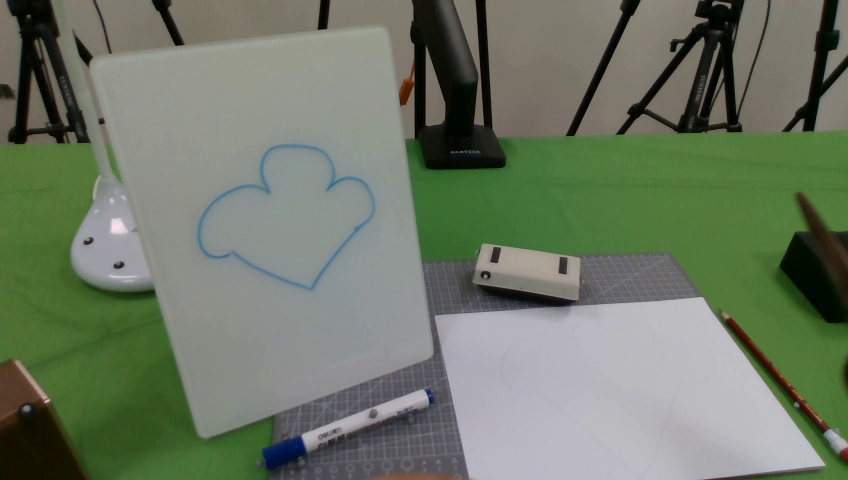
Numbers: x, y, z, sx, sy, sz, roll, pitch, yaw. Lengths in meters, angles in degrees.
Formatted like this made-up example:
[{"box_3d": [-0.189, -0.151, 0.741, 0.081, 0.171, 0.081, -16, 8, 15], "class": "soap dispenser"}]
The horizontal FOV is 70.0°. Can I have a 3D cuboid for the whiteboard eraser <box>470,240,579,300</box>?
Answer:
[{"box_3d": [0.110, 0.034, 0.656, 0.112, 0.042, 0.055, 9, 37, 8], "class": "whiteboard eraser"}]

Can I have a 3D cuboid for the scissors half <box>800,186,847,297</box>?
[{"box_3d": [0.297, 0.039, 0.395, 0.013, 0.040, 0.174, -17, 70, -21], "class": "scissors half"}]

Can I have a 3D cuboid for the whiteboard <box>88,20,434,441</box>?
[{"box_3d": [-0.134, -0.021, 0.544, 0.218, 0.307, 0.142, -15, 21, -22], "class": "whiteboard"}]

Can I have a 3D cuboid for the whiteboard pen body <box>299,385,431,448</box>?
[{"box_3d": [-0.058, 0.149, 0.500, 0.141, 0.017, 0.017, -15, 40, -22], "class": "whiteboard pen body"}]

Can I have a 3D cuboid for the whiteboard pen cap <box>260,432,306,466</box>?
[{"box_3d": [-0.111, 0.164, 0.478, 0.033, 0.018, 0.018, -16, 40, -22], "class": "whiteboard pen cap"}]

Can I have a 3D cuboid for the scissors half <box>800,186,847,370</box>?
[{"box_3d": [0.292, 0.045, 0.414, 0.013, 0.175, 0.040, -18, -4, -16], "class": "scissors half"}]

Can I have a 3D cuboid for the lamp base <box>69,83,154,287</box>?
[{"box_3d": [-0.321, -0.067, 0.648, 0.178, 0.182, 0.160, 22, 41, 28], "class": "lamp base"}]

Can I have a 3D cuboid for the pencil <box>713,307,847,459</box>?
[{"box_3d": [0.335, 0.126, 0.580, 0.012, 0.012, 0.192, -6, 35, -11], "class": "pencil"}]

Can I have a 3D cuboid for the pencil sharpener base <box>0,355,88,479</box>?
[{"box_3d": [-0.295, 0.147, 0.419, 0.061, 0.108, 0.077, 30, 44, 31], "class": "pencil sharpener base"}]
